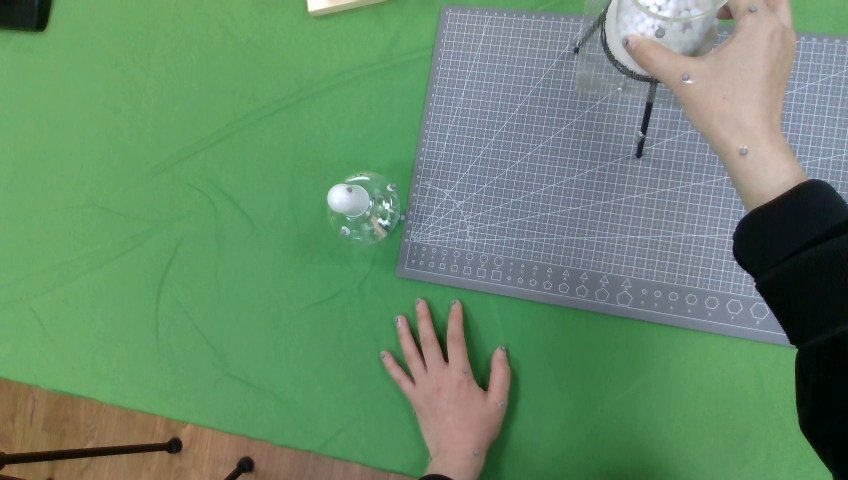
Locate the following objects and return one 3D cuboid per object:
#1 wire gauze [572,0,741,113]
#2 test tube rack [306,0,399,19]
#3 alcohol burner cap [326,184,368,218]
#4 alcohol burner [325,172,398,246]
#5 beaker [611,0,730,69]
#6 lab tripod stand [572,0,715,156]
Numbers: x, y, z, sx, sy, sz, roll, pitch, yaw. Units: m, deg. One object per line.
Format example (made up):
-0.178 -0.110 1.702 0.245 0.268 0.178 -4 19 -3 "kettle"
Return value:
0.187 -0.168 0.483 0.125 0.011 0.121 9 90 13 "wire gauze"
-0.025 -0.306 0.635 0.242 0.085 0.066 -8 83 11 "test tube rack"
-0.076 -0.038 0.574 0.034 0.048 0.034 0 89 12 "alcohol burner cap"
-0.068 -0.034 0.609 0.078 0.119 0.077 -1 83 11 "alcohol burner"
0.172 -0.173 0.437 0.083 0.100 0.074 23 91 13 "beaker"
0.201 -0.161 0.548 0.148 0.132 0.148 -1 86 11 "lab tripod stand"
